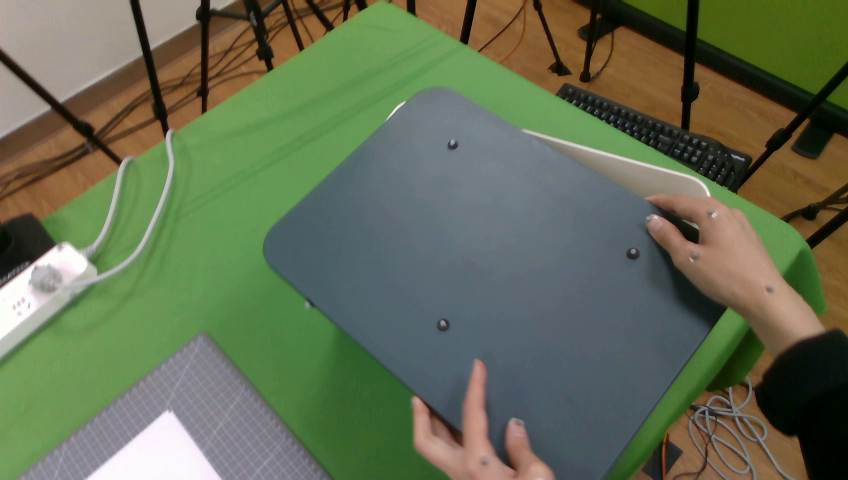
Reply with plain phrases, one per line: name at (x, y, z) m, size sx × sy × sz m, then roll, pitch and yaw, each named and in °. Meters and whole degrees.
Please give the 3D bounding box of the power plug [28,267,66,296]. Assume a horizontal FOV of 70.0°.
power plug at (-0.469, 0.063, 0.760) m, size 0.035 × 0.053 × 0.072 m, roll -36°, pitch 65°, yaw -18°

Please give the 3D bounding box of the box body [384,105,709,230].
box body at (0.083, 0.025, 0.673) m, size 0.362 × 0.162 × 0.253 m, roll 20°, pitch 59°, yaw 19°

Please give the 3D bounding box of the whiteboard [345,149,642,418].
whiteboard at (0.077, 0.024, 0.687) m, size 0.303 × 0.145 × 0.216 m, roll 19°, pitch 58°, yaw 21°

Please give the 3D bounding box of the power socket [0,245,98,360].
power socket at (-0.523, 0.095, 0.771) m, size 0.071 × 0.033 × 0.226 m, roll 33°, pitch 64°, yaw 25°

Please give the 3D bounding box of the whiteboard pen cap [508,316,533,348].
whiteboard pen cap at (0.107, 0.101, 0.663) m, size 0.018 × 0.018 × 0.033 m, roll 23°, pitch 57°, yaw 21°

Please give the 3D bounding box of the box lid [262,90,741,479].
box lid at (0.052, 0.015, 0.542) m, size 0.368 × 0.015 × 0.263 m, roll 35°, pitch 71°, yaw 25°

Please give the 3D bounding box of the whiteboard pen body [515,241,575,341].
whiteboard pen body at (0.137, 0.057, 0.688) m, size 0.017 × 0.017 × 0.140 m, roll 25°, pitch 64°, yaw 22°

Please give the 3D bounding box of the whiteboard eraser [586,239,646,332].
whiteboard eraser at (0.221, 0.052, 0.694) m, size 0.055 × 0.042 × 0.112 m, roll 6°, pitch 55°, yaw 20°
